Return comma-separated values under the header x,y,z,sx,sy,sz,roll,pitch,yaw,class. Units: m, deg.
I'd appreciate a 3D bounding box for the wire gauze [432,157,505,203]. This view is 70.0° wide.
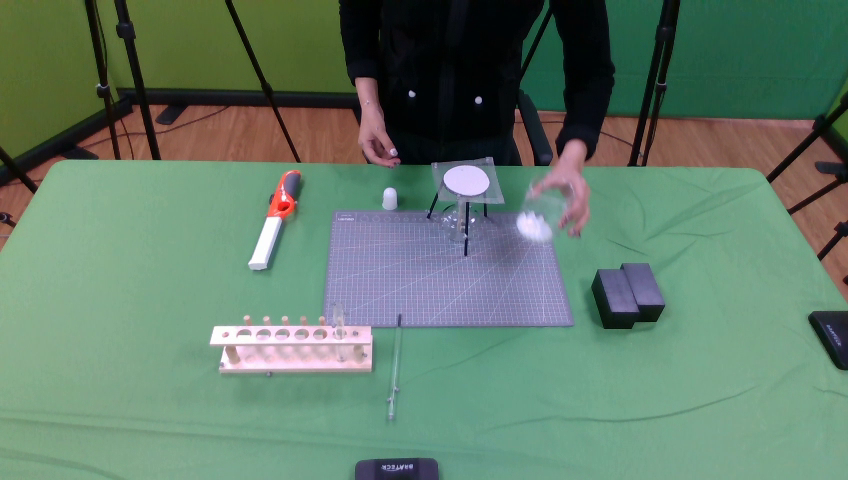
x,y,z,sx,sy,sz,roll,pitch,yaw,class
0.081,-0.112,1.137,0.125,0.011,0.120,-2,48,-6,wire gauze

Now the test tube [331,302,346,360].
x,y,z,sx,sy,sz,roll,pitch,yaw,class
-0.132,0.144,0.938,0.017,0.151,0.017,2,49,-3,test tube

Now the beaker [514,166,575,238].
x,y,z,sx,sy,sz,roll,pitch,yaw,class
0.193,-0.059,0.996,0.084,0.100,0.073,-10,48,-25,beaker

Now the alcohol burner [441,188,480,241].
x,y,z,sx,sy,sz,roll,pitch,yaw,class
0.073,-0.055,1.189,0.078,0.120,0.077,1,48,-1,alcohol burner

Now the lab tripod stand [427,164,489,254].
x,y,z,sx,sy,sz,roll,pitch,yaw,class
0.078,-0.068,1.188,0.148,0.132,0.147,3,47,-3,lab tripod stand

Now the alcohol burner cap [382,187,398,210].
x,y,z,sx,sy,sz,roll,pitch,yaw,class
-0.072,-0.090,1.267,0.034,0.048,0.033,2,47,-2,alcohol burner cap

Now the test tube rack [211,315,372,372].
x,y,z,sx,sy,sz,roll,pitch,yaw,class
-0.208,0.163,0.982,0.242,0.085,0.066,1,46,-4,test tube rack

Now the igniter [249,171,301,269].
x,y,z,sx,sy,sz,roll,pitch,yaw,class
-0.297,-0.049,1.220,0.057,0.025,0.275,-1,45,9,igniter

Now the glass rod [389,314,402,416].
x,y,z,sx,sy,sz,roll,pitch,yaw,class
-0.048,0.203,1.008,0.008,0.008,0.198,4,45,0,glass rod
